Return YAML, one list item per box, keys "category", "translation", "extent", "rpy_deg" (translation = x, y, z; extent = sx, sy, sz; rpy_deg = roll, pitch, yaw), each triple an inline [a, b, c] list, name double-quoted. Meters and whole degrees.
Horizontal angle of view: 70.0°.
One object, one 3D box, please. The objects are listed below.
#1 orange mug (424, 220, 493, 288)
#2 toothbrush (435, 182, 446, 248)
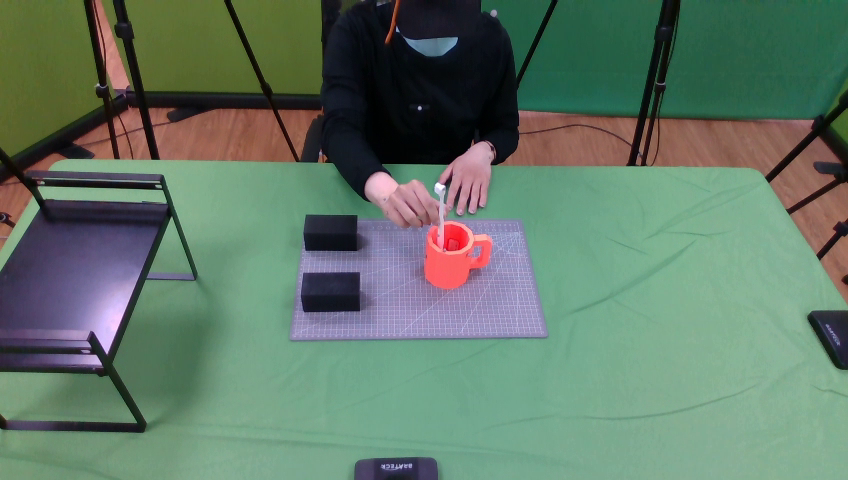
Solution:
- category: "orange mug"
  translation: [0.063, 0.023, 1.119]
  extent: [0.126, 0.101, 0.083]
  rpy_deg: [-9, 47, -7]
- category: "toothbrush"
  translation: [0.028, -0.038, 1.042]
  extent: [0.016, 0.183, 0.014]
  rpy_deg: [28, 60, 20]
